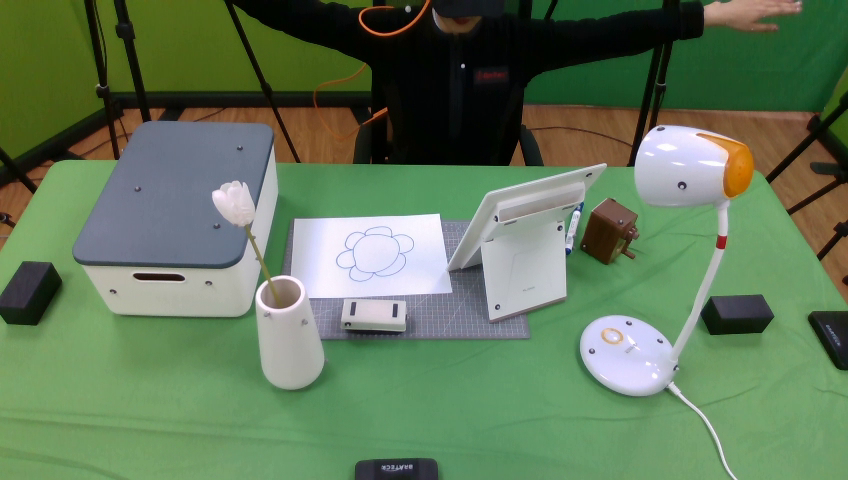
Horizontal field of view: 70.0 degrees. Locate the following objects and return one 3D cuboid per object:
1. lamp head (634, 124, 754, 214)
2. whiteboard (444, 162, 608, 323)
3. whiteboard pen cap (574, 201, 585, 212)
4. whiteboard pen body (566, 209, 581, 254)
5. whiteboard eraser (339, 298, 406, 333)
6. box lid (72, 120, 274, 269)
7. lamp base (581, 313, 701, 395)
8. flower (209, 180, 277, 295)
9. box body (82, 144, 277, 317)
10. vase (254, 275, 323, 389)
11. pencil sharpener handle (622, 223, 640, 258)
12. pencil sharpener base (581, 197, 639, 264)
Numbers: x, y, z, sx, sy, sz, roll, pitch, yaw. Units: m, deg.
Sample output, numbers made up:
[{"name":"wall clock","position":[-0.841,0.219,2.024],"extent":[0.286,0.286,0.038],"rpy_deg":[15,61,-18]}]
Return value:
[{"name":"lamp head","position":[0.351,-0.089,0.775],"extent":[0.112,0.113,0.122],"rpy_deg":[-30,30,-28]},{"name":"whiteboard","position":[0.186,0.025,1.029],"extent":[0.217,0.306,0.143],"rpy_deg":[-14,68,-17]},{"name":"whiteboard pen cap","position":[0.327,-0.069,1.278],"extent":[0.018,0.018,0.033],"rpy_deg":[18,51,13]},{"name":"whiteboard pen body","position":[0.307,-0.026,1.241],"extent":[0.017,0.017,0.140],"rpy_deg":[16,51,11]},{"name":"whiteboard eraser","position":[-0.087,0.131,1.045],"extent":[0.113,0.042,0.055],"rpy_deg":[3,48,-2]},{"name":"box lid","position":[-0.417,-0.094,1.056],"extent":[0.263,0.015,0.369],"rpy_deg":[1,47,-3]},{"name":"lamp base","position":[0.361,0.144,0.973],"extent":[0.178,0.181,0.160],"rpy_deg":[34,53,23]},{"name":"flower","position":[-0.217,0.075,0.872],"extent":[0.044,0.363,0.038],"rpy_deg":[-28,36,-19]},{"name":"box body","position":[-0.422,-0.041,1.108],"extent":[0.254,0.161,0.361],"rpy_deg":[2,46,-3]},{"name":"vase","position":[-0.209,0.143,0.921],"extent":[0.098,0.201,0.097],"rpy_deg":[1,46,-1]},{"name":"pencil sharpener handle","position":[0.397,0.002,1.146],"extent":[0.030,0.068,0.036],"rpy_deg":[37,47,27]},{"name":"pencil sharpener base","position":[0.362,-0.017,1.179],"extent":[0.076,0.107,0.061],"rpy_deg":[37,54,27]}]
